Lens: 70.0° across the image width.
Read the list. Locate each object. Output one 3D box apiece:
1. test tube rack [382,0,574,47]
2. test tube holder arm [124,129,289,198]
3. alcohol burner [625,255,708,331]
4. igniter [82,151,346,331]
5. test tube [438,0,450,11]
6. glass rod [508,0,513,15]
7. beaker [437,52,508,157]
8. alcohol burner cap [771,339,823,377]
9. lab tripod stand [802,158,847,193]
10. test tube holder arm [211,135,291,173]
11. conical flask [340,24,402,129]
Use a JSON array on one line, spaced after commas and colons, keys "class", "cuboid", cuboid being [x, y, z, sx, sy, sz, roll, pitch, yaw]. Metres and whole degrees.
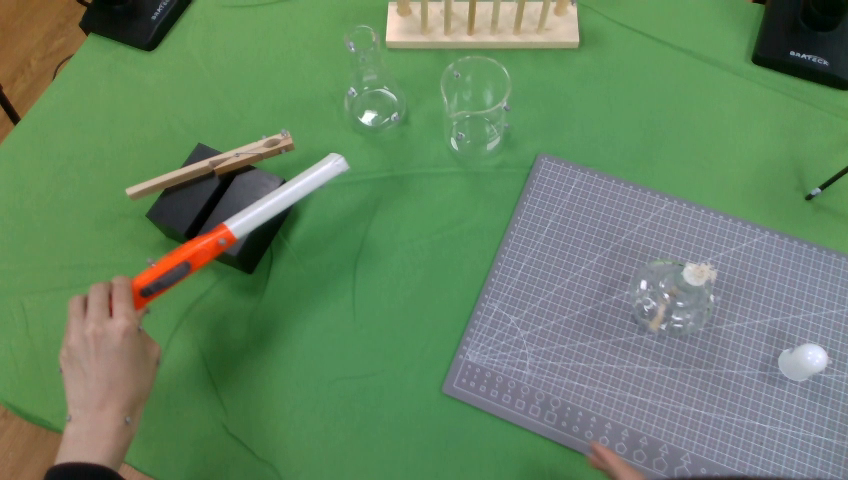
[{"class": "test tube rack", "cuboid": [0.067, -0.293, 0.747, 0.242, 0.086, 0.066, 1, 67, 2]}, {"class": "test tube holder arm", "cuboid": [-0.231, -0.082, 0.651, 0.178, 0.015, 0.013, -21, 67, -8]}, {"class": "alcohol burner", "cuboid": [0.236, 0.045, 0.577, 0.078, 0.120, 0.077, 0, 66, 0]}, {"class": "igniter", "cuboid": [-0.194, -0.003, 0.572, 0.276, 0.025, 0.057, -37, 26, -15]}, {"class": "test tube", "cuboid": [0.027, -0.331, 0.710, 0.017, 0.151, 0.017, 1, 61, -1]}, {"class": "glass rod", "cuboid": [0.100, -0.342, 0.694, 0.008, 0.201, 0.008, -3, 58, 5]}, {"class": "beaker", "cuboid": [0.051, -0.144, 0.676, 0.073, 0.101, 0.084, 36, 73, 17]}, {"class": "alcohol burner cap", "cuboid": [0.362, 0.111, 0.583, 0.034, 0.048, 0.033, -1, 67, 2]}, {"class": "lab tripod stand", "cuboid": [0.491, -0.090, 0.618, 0.148, 0.132, 0.147, 0, 66, 0]}, {"class": "test tube holder arm", "cuboid": [-0.187, -0.093, 0.655, 0.088, 0.015, 0.010, -20, 67, -7]}, {"class": "conical flask", "cuboid": [-0.067, -0.188, 0.686, 0.075, 0.123, 0.075, -1, 66, 2]}]
